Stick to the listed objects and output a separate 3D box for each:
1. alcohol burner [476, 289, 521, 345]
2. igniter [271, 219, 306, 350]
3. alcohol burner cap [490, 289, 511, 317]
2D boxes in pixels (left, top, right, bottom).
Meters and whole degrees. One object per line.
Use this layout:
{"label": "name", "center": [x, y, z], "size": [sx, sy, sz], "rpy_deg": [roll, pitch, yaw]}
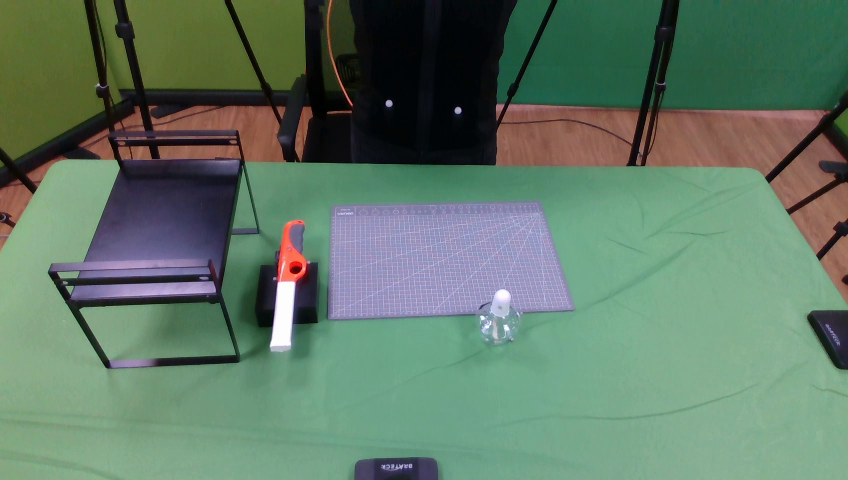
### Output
{"label": "alcohol burner", "center": [0.128, 0.123, 1.024], "size": [0.078, 0.119, 0.077], "rpy_deg": [3, 45, -3]}
{"label": "igniter", "center": [-0.235, 0.067, 1.047], "size": [0.057, 0.025, 0.274], "rpy_deg": [0, 49, -6]}
{"label": "alcohol burner cap", "center": [0.128, 0.101, 1.002], "size": [0.034, 0.048, 0.033], "rpy_deg": [3, 44, -3]}
